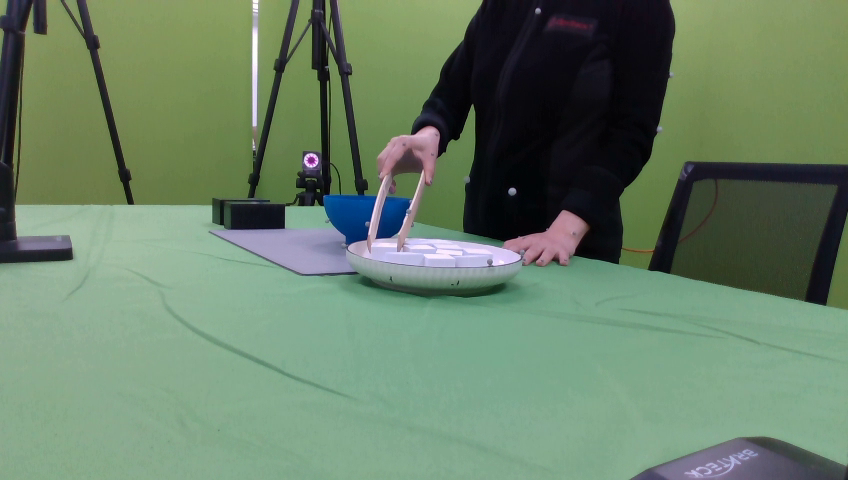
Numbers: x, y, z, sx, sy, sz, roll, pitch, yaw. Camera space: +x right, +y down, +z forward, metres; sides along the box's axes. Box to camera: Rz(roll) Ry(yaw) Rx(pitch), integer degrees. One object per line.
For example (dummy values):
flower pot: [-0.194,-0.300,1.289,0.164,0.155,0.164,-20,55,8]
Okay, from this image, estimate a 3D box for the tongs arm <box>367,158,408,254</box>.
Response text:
tongs arm: [-0.051,-0.063,0.882,0.028,0.028,0.387,-6,21,5]

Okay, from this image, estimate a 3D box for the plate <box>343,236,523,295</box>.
plate: [0.010,0.030,0.707,0.208,0.039,0.207,3,8,0]

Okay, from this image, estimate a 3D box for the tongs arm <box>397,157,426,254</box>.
tongs arm: [-0.027,-0.064,0.881,0.051,0.026,0.385,-1,21,8]

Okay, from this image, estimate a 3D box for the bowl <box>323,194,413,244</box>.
bowl: [-0.091,-0.032,0.986,0.151,0.077,0.151,2,7,0]
